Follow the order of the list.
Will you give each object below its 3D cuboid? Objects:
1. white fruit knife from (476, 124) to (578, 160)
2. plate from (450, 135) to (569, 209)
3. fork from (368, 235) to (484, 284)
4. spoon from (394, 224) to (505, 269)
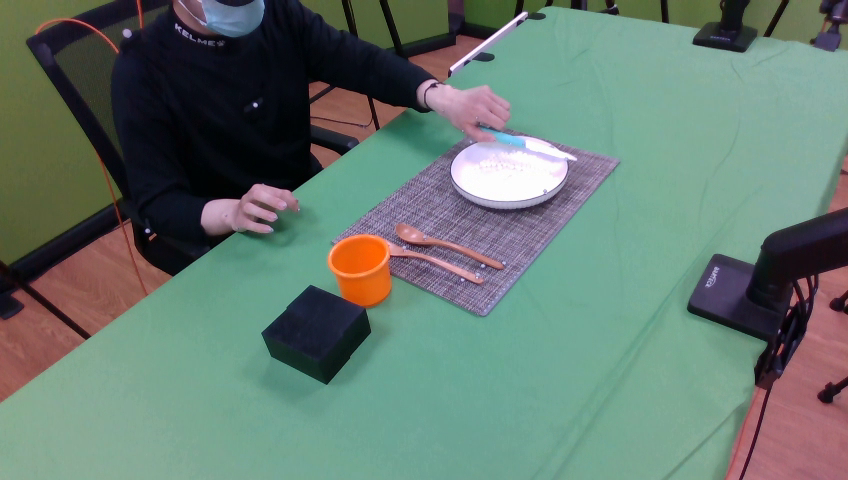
[{"bbox_3d":[0.180,-0.174,1.087,0.206,0.016,0.027,22,47,26],"label":"white fruit knife"},{"bbox_3d":[0.150,-0.117,1.065,0.209,0.038,0.208,-4,41,4],"label":"plate"},{"bbox_3d":[0.001,0.030,0.930,0.206,0.019,0.028,18,41,28],"label":"fork"},{"bbox_3d":[0.037,0.010,0.945,0.192,0.022,0.042,18,28,26],"label":"spoon"}]
